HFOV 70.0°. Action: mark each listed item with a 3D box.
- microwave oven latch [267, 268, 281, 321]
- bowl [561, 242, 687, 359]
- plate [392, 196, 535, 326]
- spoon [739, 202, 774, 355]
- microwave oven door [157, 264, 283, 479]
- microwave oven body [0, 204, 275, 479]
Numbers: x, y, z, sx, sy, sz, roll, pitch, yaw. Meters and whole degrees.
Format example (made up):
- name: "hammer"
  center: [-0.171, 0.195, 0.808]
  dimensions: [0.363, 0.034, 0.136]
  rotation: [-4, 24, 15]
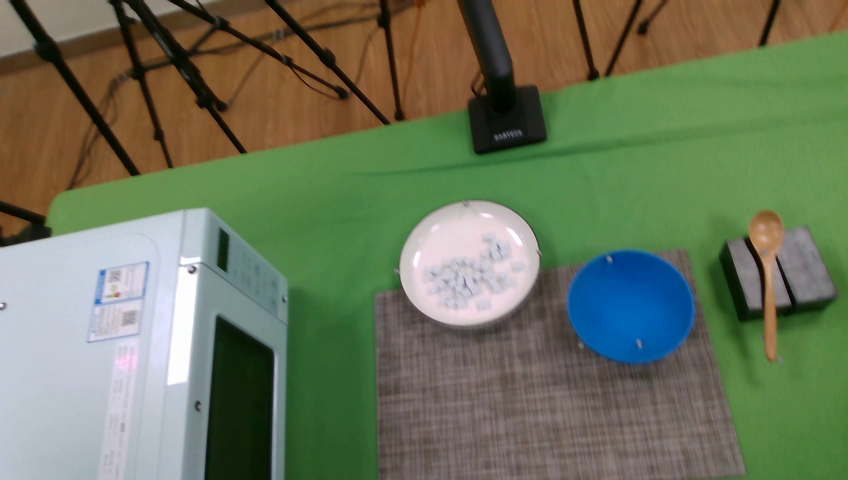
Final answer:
- name: "microwave oven latch"
  center: [-0.232, 0.084, 0.912]
  dimensions: [0.030, 0.030, 0.078]
  rotation: [-11, 64, 8]
- name: "bowl"
  center: [0.255, 0.088, 0.786]
  dimensions: [0.151, 0.077, 0.150]
  rotation: [-5, 64, 12]
- name: "plate"
  center: [0.058, 0.032, 0.885]
  dimensions: [0.209, 0.038, 0.207]
  rotation: [-6, 61, 11]
- name: "spoon"
  center: [0.417, 0.046, 0.753]
  dimensions: [0.041, 0.022, 0.192]
  rotation: [4, 71, 10]
- name: "microwave oven door"
  center: [-0.234, 0.234, 0.726]
  dimensions: [0.039, 0.246, 0.352]
  rotation: [-11, 63, 8]
- name: "microwave oven body"
  center: [-0.379, 0.227, 0.769]
  dimensions: [0.326, 0.262, 0.437]
  rotation: [-11, 64, 8]
